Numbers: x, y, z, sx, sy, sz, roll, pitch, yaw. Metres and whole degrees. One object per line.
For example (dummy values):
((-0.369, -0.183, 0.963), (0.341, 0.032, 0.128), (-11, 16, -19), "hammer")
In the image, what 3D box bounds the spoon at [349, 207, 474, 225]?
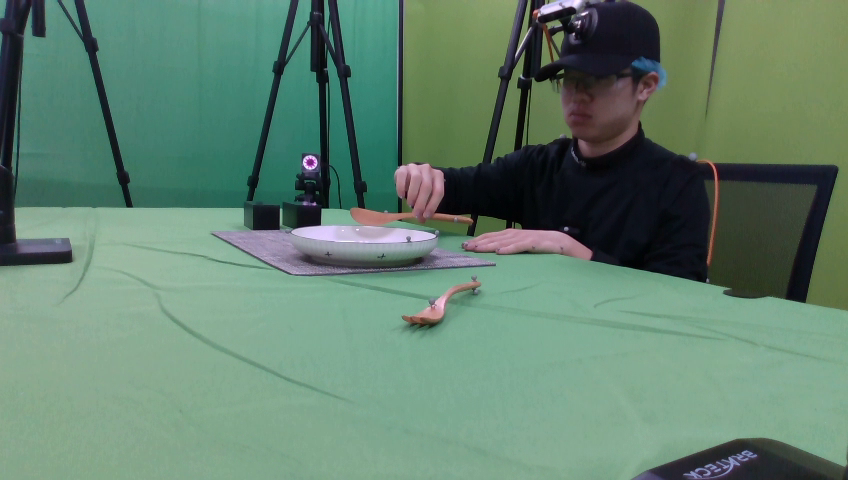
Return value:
((-0.018, -0.037, 0.936), (0.194, 0.021, 0.041), (-1, -34, -8), "spoon")

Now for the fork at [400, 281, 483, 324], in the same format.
((0.025, 0.057, 0.590), (0.028, 0.018, 0.208), (-2, 7, 21), "fork")

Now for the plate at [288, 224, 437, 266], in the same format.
((-0.086, 0.007, 0.852), (0.208, 0.039, 0.207), (2, 7, 0), "plate")
